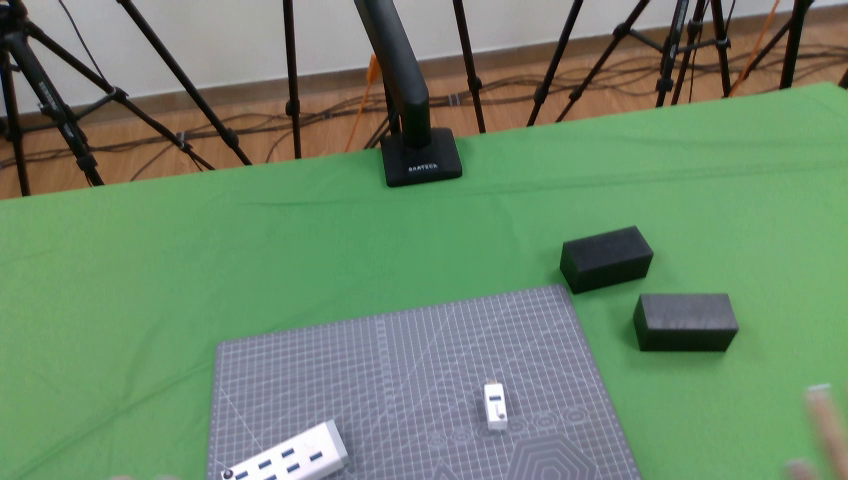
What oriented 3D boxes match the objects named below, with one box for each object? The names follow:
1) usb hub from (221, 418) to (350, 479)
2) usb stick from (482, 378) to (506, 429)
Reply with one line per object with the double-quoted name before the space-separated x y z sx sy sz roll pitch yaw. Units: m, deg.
"usb hub" -0.146 0.238 0.641 0.125 0.025 0.049 -22 51 -15
"usb stick" 0.077 0.178 0.676 0.021 0.027 0.058 -6 46 3
